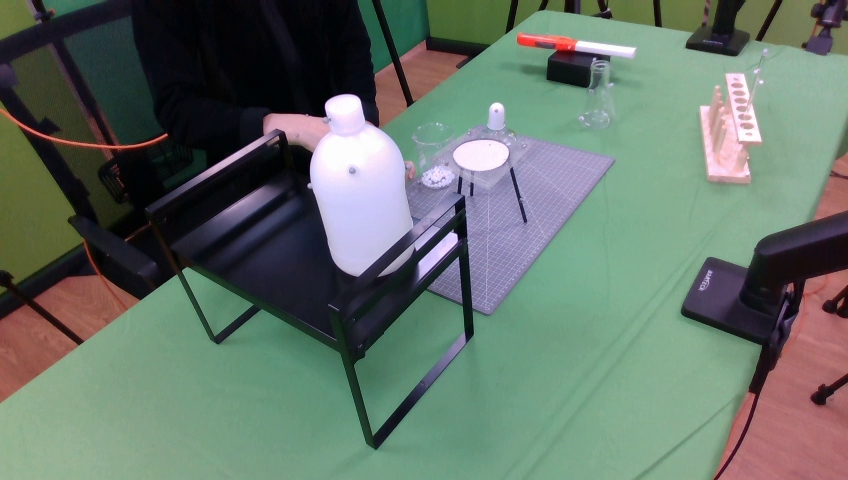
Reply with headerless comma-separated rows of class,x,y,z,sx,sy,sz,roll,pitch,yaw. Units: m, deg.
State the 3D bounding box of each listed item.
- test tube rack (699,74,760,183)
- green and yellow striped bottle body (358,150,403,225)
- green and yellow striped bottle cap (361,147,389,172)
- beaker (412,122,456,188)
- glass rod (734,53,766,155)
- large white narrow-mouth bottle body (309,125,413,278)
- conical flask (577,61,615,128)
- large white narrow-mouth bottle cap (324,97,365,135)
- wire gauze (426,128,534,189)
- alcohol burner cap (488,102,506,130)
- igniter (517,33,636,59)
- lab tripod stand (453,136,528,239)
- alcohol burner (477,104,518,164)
test tube rack,0.547,-0.208,1.095,0.066,0.085,0.242,6,42,16
green and yellow striped bottle body,-0.073,-0.090,1.012,0.063,0.120,0.063,-4,40,4
green and yellow striped bottle cap,-0.080,-0.130,0.978,0.045,0.020,0.045,-4,44,4
beaker,0.022,-0.152,1.088,0.073,0.100,0.084,13,44,21
glass rod,0.540,-0.220,1.007,0.008,0.201,0.008,-5,45,6
large white narrow-mouth bottle body,-0.068,-0.057,0.644,0.102,0.195,0.101,-3,42,4
conical flask,0.343,-0.288,1.188,0.075,0.122,0.075,-4,41,4
large white narrow-mouth bottle cap,-0.076,-0.120,0.585,0.038,0.024,0.037,-3,42,3
wire gauze,0.086,-0.131,0.924,0.124,0.011,0.122,26,52,33
alcohol burner cap,0.133,-0.227,1.092,0.034,0.048,0.033,-1,47,2
igniter,0.336,-0.441,1.369,0.275,0.025,0.057,16,41,23
lab tripod stand,0.094,-0.086,0.974,0.148,0.132,0.147,-4,43,4
alcohol burner,0.135,-0.200,1.117,0.078,0.119,0.077,-4,43,4
